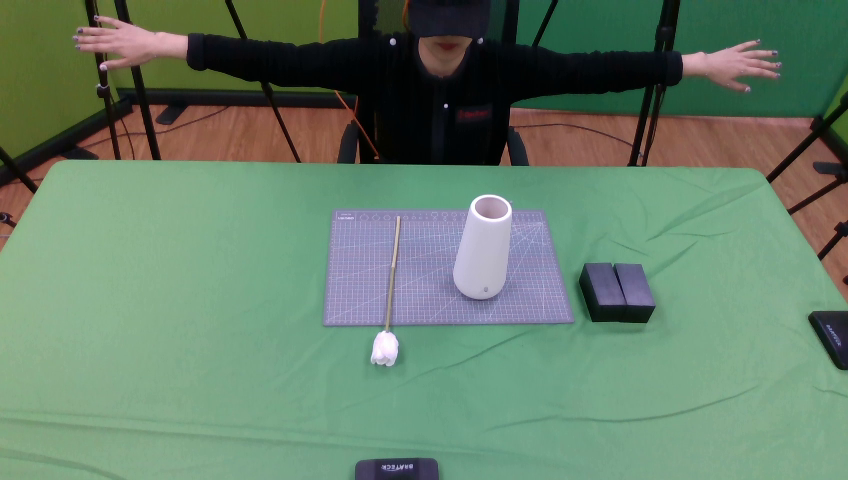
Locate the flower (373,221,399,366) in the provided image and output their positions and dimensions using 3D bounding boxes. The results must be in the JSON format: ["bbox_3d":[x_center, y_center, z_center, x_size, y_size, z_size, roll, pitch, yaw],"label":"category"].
[{"bbox_3d":[-0.061,0.080,1.122,0.044,0.038,0.359,-26,36,22],"label":"flower"}]

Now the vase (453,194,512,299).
[{"bbox_3d":[0.107,0.016,1.065,0.098,0.201,0.097,3,47,-3],"label":"vase"}]
